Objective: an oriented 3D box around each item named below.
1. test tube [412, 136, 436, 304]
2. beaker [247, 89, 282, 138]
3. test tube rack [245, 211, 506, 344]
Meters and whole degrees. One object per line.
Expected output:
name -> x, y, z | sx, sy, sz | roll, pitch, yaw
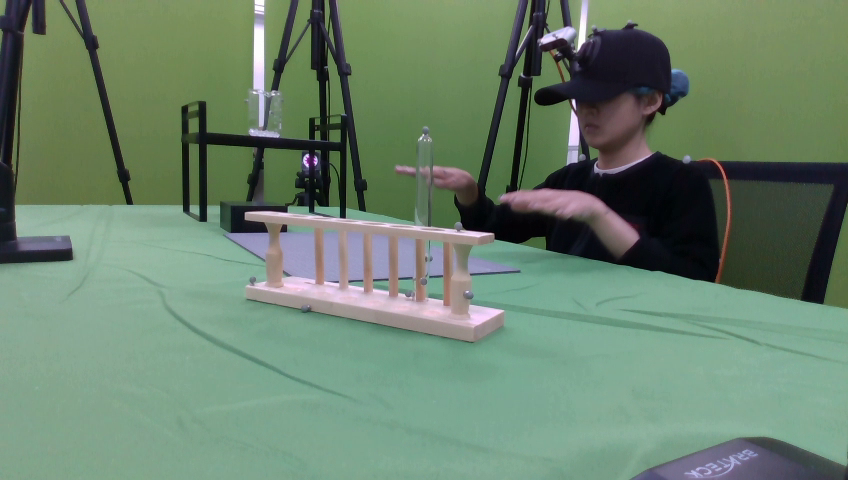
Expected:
test tube -> 0.000, -0.017, 0.537 | 0.017, 0.150, 0.017 | 2, 8, 0
beaker -> -0.347, -0.274, 1.320 | 0.074, 0.100, 0.083 | -1, 9, -27
test tube rack -> -0.049, 0.025, 0.547 | 0.241, 0.085, 0.067 | 7, 8, 28
